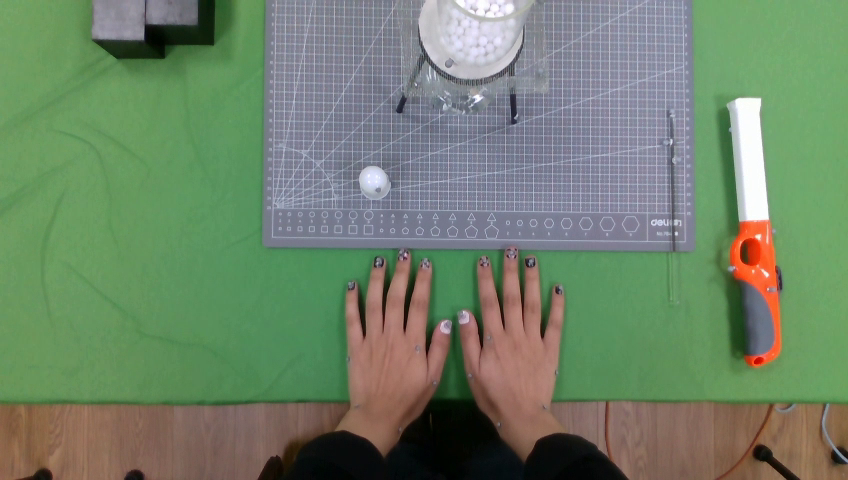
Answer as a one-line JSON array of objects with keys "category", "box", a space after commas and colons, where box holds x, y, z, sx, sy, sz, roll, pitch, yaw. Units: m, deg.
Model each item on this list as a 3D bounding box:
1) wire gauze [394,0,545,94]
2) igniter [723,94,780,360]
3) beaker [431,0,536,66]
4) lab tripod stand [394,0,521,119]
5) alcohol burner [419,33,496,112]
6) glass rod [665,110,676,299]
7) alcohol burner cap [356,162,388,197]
[{"category": "wire gauze", "box": [0.036, -0.182, 0.505, 0.125, 0.011, 0.121, -4, 86, -1]}, {"category": "igniter", "box": [0.340, -0.014, 0.633, 0.057, 0.025, 0.276, -3, 88, -12]}, {"category": "beaker", "box": [0.042, -0.183, 0.457, 0.074, 0.100, 0.084, -3, 86, -2]}, {"category": "lab tripod stand", "box": [0.034, -0.176, 0.570, 0.148, 0.131, 0.148, 0, 86, -1]}, {"category": "alcohol burner", "box": [0.033, -0.166, 0.580, 0.078, 0.119, 0.077, 0, 86, -1]}, {"category": "glass rod", "box": [0.259, -0.038, 0.637, 0.008, 0.008, 0.199, 0, 88, -3]}, {"category": "alcohol burner cap", "box": [-0.053, -0.063, 0.608, 0.034, 0.048, 0.034, 0, 87, -2]}]
